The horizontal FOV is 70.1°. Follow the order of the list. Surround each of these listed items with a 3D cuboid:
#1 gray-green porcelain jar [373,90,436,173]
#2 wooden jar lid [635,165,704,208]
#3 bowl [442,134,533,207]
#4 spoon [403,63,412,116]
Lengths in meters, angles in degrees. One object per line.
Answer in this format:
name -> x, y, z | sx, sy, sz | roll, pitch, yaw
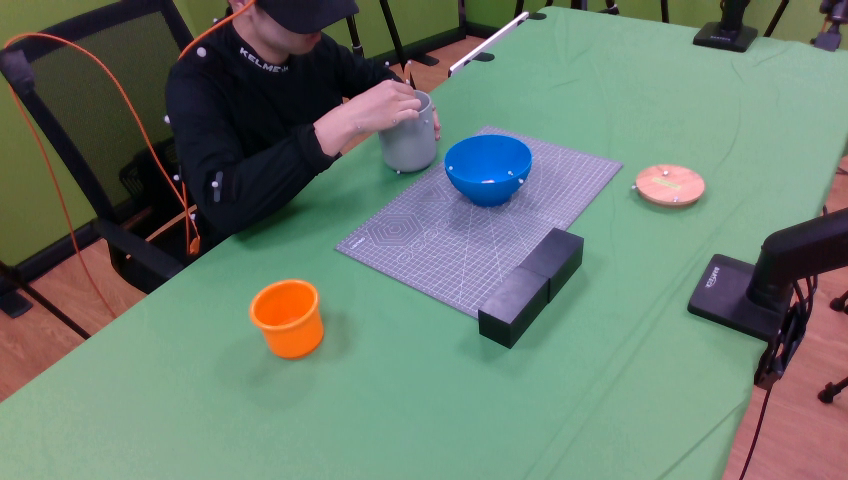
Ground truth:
gray-green porcelain jar -> -0.034, -0.198, 1.126 | 0.106, 0.127, 0.105 | -4, 40, 4
wooden jar lid -> 0.411, -0.089, 1.014 | 0.108, 0.021, 0.108 | -5, 41, 5
bowl -> 0.111, -0.109, 1.033 | 0.151, 0.077, 0.150 | -4, 41, 4
spoon -> -0.024, -0.225, 1.087 | 0.021, 0.194, 0.042 | 22, 49, 32
